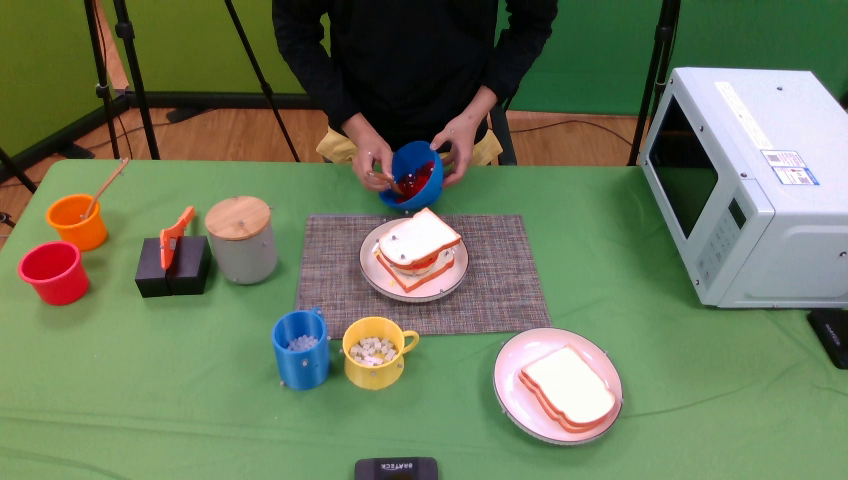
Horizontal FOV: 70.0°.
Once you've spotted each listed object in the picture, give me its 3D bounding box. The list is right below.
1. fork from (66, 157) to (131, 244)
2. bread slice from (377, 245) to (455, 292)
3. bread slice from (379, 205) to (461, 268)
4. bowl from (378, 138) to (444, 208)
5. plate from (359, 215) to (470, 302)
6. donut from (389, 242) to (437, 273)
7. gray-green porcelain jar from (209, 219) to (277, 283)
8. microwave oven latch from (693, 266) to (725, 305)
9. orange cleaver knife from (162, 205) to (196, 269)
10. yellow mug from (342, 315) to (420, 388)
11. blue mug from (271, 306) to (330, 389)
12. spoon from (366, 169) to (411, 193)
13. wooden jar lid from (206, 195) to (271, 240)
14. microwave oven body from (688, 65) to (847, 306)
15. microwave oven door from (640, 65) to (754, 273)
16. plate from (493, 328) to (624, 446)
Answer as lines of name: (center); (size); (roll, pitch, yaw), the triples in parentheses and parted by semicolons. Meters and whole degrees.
fork: (-0.608, -0.074, 1.132); (0.207, 0.019, 0.028); (-52, 48, 10)
bread slice: (-0.010, 0.033, 1.149); (0.131, 0.019, 0.104); (-28, 55, -25)
bread slice: (-0.013, -0.002, 1.097); (0.134, 0.018, 0.106); (-34, 50, -22)
bowl: (-0.011, -0.122, 1.226); (0.151, 0.077, 0.150); (-22, 52, 31)
plate: (-0.019, 0.038, 1.140); (0.209, 0.038, 0.208); (2, 46, -2)
donut: (-0.023, 0.018, 1.120); (0.099, 0.048, 0.098); (-10, 48, 11)
gray-green porcelain jar: (-0.323, 0.007, 1.092); (0.106, 0.127, 0.105); (2, 46, -2)
microwave oven latch: (0.523, 0.081, 1.115); (0.030, 0.029, 0.078); (3, 46, 0)
orange cleaver knife: (-0.454, -0.010, 1.129); (0.012, 0.077, 0.210); (-2, 20, -5)
yellow mug: (-0.068, 0.177, 0.990); (0.131, 0.064, 0.099); (-16, 50, -19)
blue mug: (-0.188, 0.163, 0.969); (0.082, 0.106, 0.116); (15, 47, 10)
spoon: (-0.069, -0.117, 1.166); (0.041, 0.194, 0.021); (39, 95, 18)
wooden jar lid: (-0.319, -0.036, 1.046); (0.108, 0.021, 0.107); (1, 44, 0)
microwave oven body: (0.669, -0.111, 1.176); (0.326, 0.261, 0.439); (0, 46, -3)
microwave oven door: (0.523, -0.147, 1.193); (0.039, 0.245, 0.353); (0, 47, -3)
plate: (0.213, 0.236, 0.974); (0.208, 0.039, 0.206); (2, 46, -2)
